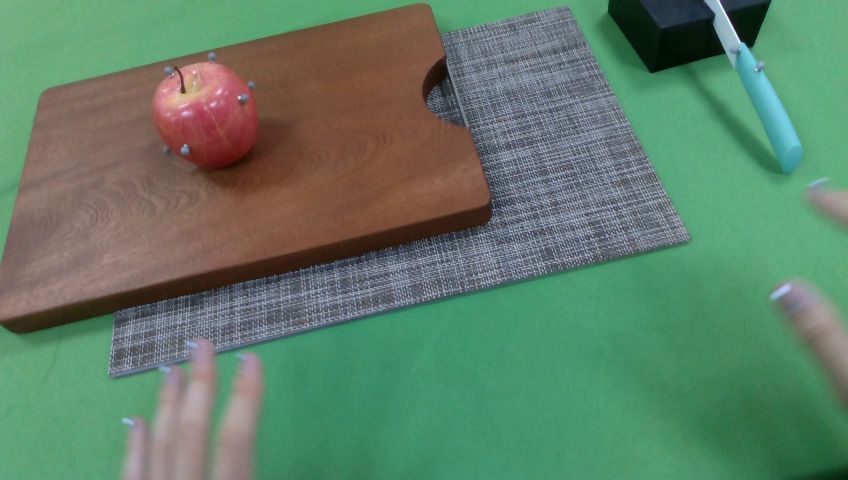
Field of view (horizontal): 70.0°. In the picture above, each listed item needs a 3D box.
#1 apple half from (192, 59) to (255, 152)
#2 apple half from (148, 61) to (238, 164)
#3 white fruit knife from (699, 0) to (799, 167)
[{"bbox_3d":[-0.159,-0.115,0.506,0.033,0.082,0.080,-24,57,-3],"label":"apple half"},{"bbox_3d":[-0.195,-0.099,0.502,0.053,0.075,0.080,-24,61,-2],"label":"apple half"},{"bbox_3d":[0.260,-0.157,0.505,0.016,0.027,0.206,-16,71,-3],"label":"white fruit knife"}]
